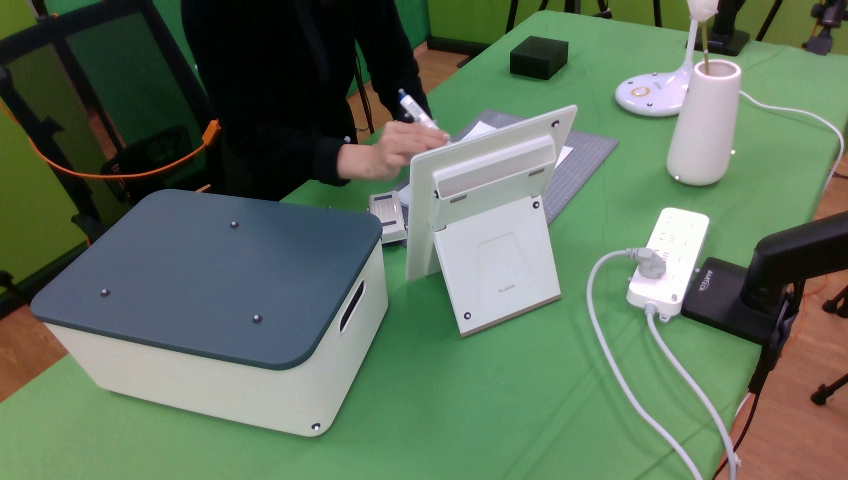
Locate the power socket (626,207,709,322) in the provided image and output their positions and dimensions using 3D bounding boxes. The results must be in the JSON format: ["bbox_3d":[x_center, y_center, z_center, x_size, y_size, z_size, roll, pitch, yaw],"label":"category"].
[{"bbox_3d":[0.360,0.026,0.886,0.072,0.033,0.227,17,46,27],"label":"power socket"}]

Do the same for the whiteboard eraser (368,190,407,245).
[{"bbox_3d":[-0.061,-0.035,1.006,0.056,0.042,0.112,-9,40,-4],"label":"whiteboard eraser"}]

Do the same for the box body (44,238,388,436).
[{"bbox_3d":[-0.251,0.088,0.799,0.362,0.161,0.254,7,42,16],"label":"box body"}]

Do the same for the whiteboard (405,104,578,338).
[{"bbox_3d":[0.102,0.003,0.787,0.218,0.306,0.143,-19,62,-13],"label":"whiteboard"}]

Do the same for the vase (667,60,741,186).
[{"bbox_3d":[0.463,-0.189,0.994,0.098,0.201,0.097,-4,40,3],"label":"vase"}]

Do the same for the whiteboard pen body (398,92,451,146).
[{"bbox_3d":[0.015,-0.147,0.830,0.140,0.017,0.017,48,57,2],"label":"whiteboard pen body"}]

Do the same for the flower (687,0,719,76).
[{"bbox_3d":[0.436,-0.242,0.934,0.038,0.364,0.043,-24,49,9],"label":"flower"}]

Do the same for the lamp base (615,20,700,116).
[{"bbox_3d":[0.484,-0.364,1.211,0.180,0.181,0.159,-15,41,-14],"label":"lamp base"}]

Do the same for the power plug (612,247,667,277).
[{"bbox_3d":[0.306,0.031,0.852,0.072,0.053,0.035,21,48,37],"label":"power plug"}]

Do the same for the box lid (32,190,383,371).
[{"bbox_3d":[-0.257,0.032,0.750,0.370,0.015,0.263,7,42,16],"label":"box lid"}]

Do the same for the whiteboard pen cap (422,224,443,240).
[{"bbox_3d":[0.013,-0.013,0.989,0.033,0.018,0.018,-31,46,-21],"label":"whiteboard pen cap"}]
